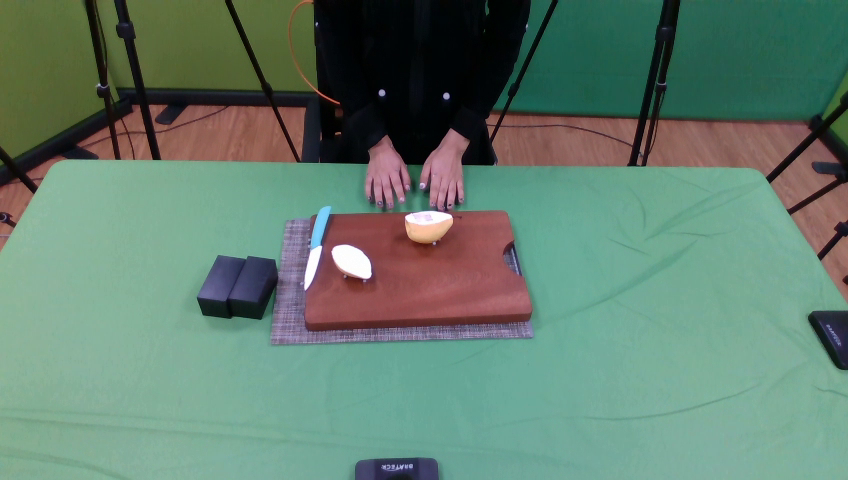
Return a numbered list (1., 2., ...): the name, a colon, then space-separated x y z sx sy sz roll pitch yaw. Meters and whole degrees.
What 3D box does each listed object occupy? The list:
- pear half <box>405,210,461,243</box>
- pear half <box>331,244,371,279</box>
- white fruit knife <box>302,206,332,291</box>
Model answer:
1. pear half: 0.021 -0.026 1.160 0.110 0.056 0.076 -9 29 -9
2. pear half: -0.133 0.045 1.097 0.070 0.031 0.087 -22 63 -43
3. white fruit knife: -0.204 0.012 1.136 0.027 0.016 0.206 -5 47 12
